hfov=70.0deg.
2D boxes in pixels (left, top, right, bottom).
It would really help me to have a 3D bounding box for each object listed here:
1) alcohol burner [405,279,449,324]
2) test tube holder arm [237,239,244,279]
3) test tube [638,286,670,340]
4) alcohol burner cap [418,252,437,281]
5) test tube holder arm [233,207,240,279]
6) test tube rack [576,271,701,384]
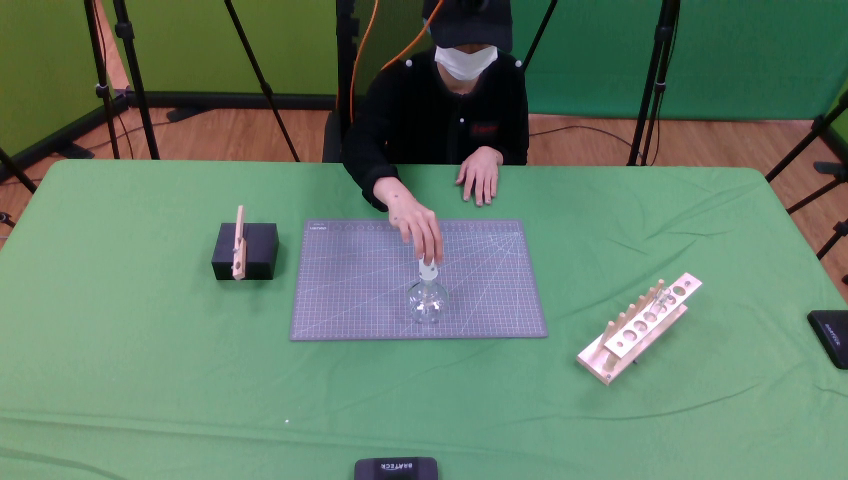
[{"bbox_3d":[0.005,0.089,1.043,0.078,0.120,0.077,1,45,-1],"label":"alcohol burner"},{"bbox_3d":[-0.325,0.032,1.076,0.010,0.015,0.087,-10,47,-7],"label":"test tube holder arm"},{"bbox_3d":[0.373,0.123,0.994,0.017,0.151,0.017,0,51,0],"label":"test tube"},{"bbox_3d":[0.005,0.041,0.996,0.034,0.048,0.033,-2,45,2],"label":"alcohol burner cap"},{"bbox_3d":[-0.341,0.002,1.106,0.013,0.015,0.177,-11,47,-8],"label":"test tube holder arm"},{"bbox_3d":[0.373,0.138,1.047,0.242,0.085,0.066,-31,56,-29],"label":"test tube rack"}]
